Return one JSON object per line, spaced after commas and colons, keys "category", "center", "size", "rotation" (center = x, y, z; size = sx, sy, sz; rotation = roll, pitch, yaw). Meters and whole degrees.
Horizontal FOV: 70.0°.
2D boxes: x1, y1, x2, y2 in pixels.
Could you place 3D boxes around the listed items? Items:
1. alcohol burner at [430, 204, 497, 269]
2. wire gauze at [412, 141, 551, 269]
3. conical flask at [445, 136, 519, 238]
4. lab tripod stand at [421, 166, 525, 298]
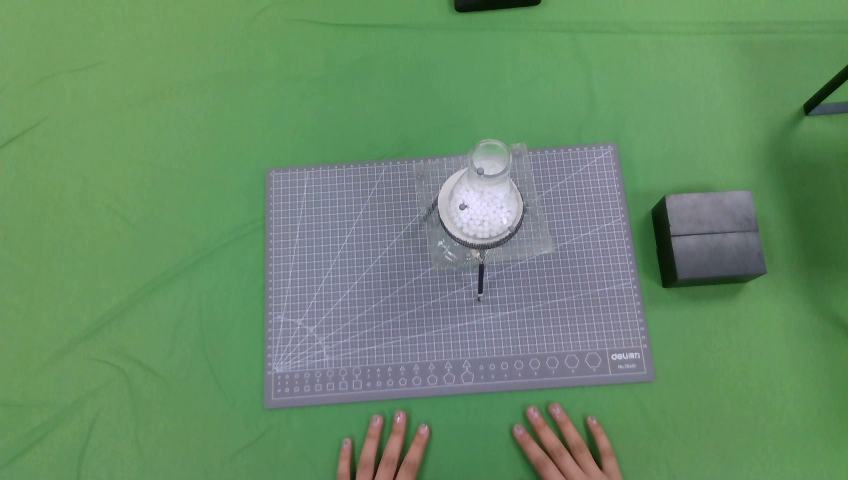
{"category": "alcohol burner", "center": [0.046, -0.009, 0.688], "size": [0.078, 0.119, 0.077], "rotation": [0, 74, 0]}
{"category": "wire gauze", "center": [0.058, -0.036, 0.617], "size": [0.125, 0.011, 0.121], "rotation": [-9, 76, -4]}
{"category": "conical flask", "center": [0.057, -0.053, 0.560], "size": [0.075, 0.122, 0.075], "rotation": [0, 73, 2]}
{"category": "lab tripod stand", "center": [0.062, -0.021, 0.680], "size": [0.148, 0.132, 0.147], "rotation": [0, 73, 2]}
